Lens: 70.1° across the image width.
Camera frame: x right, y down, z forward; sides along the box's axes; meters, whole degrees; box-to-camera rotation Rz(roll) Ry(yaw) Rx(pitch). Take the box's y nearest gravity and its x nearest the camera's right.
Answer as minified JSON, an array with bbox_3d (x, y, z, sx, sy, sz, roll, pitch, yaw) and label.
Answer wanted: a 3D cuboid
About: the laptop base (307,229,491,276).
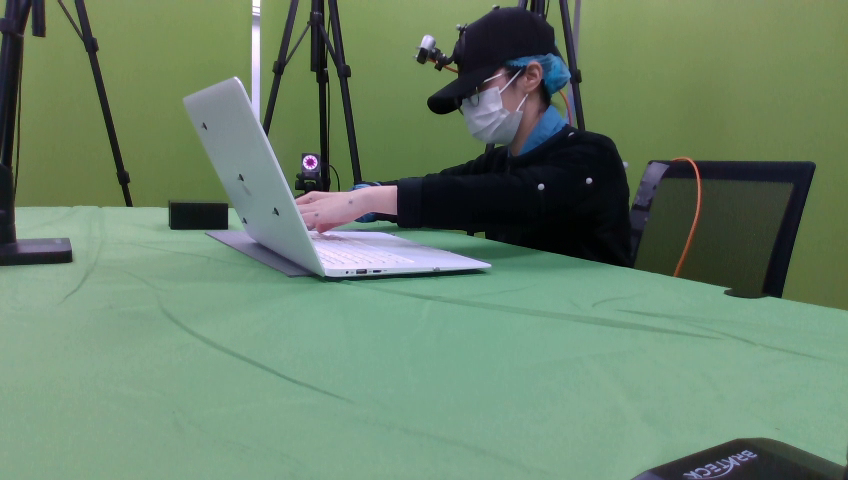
[{"bbox_3d":[-0.095,0.015,0.888,0.237,0.023,0.352,1,7,-30],"label":"laptop base"}]

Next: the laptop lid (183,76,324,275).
[{"bbox_3d":[-0.237,-0.085,0.791,0.013,0.242,0.355,-29,22,-23],"label":"laptop lid"}]

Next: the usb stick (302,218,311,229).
[{"bbox_3d":[-0.235,-0.024,1.102,0.021,0.027,0.059,7,13,37],"label":"usb stick"}]
